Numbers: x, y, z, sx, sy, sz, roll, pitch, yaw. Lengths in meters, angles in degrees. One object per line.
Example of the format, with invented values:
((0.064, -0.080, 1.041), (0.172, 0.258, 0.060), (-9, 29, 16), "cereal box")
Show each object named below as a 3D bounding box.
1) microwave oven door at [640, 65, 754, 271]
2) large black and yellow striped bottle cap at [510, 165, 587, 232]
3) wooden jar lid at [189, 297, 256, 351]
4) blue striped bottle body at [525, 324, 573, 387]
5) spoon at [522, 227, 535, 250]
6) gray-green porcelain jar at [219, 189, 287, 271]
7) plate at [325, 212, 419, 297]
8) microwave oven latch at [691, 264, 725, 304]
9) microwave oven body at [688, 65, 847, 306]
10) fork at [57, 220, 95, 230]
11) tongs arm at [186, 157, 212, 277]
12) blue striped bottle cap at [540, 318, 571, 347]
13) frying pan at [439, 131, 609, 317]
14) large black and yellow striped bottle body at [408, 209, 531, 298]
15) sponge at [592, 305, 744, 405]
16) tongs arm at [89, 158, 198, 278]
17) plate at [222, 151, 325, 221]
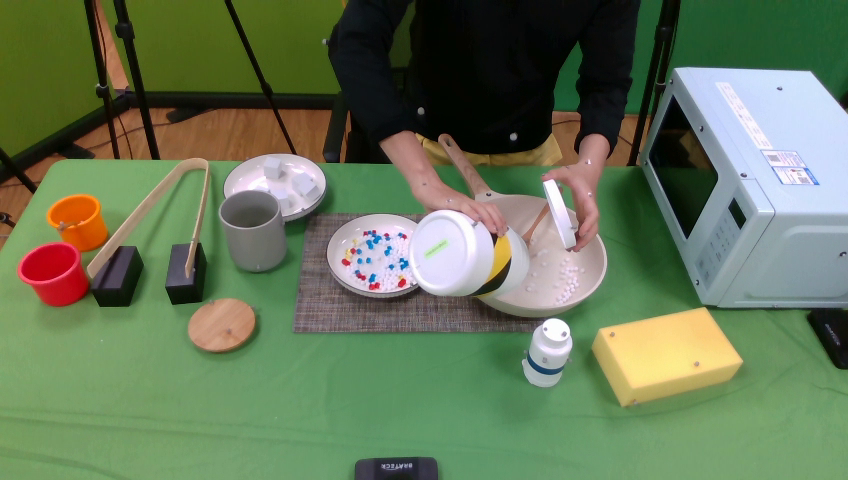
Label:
((0.524, -0.148, 1.193), (0.039, 0.245, 0.353), (0, 47, -3), "microwave oven door")
((0.189, -0.064, 0.921), (0.115, 0.019, 0.114), (1, 59, -1), "large black and yellow striped bottle cap")
((-0.342, 0.145, 1.033), (0.108, 0.021, 0.107), (2, 45, -2), "wooden jar lid")
((0.201, 0.178, 0.970), (0.063, 0.121, 0.062), (2, 46, -1), "blue striped bottle body")
((0.224, -0.035, 1.188), (0.041, 0.022, 0.193), (30, 78, 30), "spoon")
((-0.310, -0.014, 1.113), (0.106, 0.127, 0.105), (2, 46, -2), "gray-green porcelain jar")
((-0.080, 0.030, 1.143), (0.209, 0.038, 0.208), (3, 46, -2), "plate")
((0.521, 0.081, 1.116), (0.030, 0.029, 0.078), (0, 46, -3), "microwave oven latch")
((0.669, -0.111, 1.176), (0.326, 0.261, 0.439), (0, 46, -3), "microwave oven body")
((-0.624, -0.027, 1.087), (0.028, 0.207, 0.018), (-3, 92, -17), "fork")
((-0.445, -0.058, 1.168), (0.051, 0.026, 0.382), (-5, 37, -6), "tongs arm")
((0.203, 0.142, 0.933), (0.044, 0.021, 0.044), (3, 50, -3), "blue striped bottle cap")
((0.149, -0.049, 1.190), (0.307, 0.103, 0.484), (-17, 58, -20), "frying pan")
((0.078, 0.026, 0.967), (0.185, 0.131, 0.130), (8, 32, -50), "large black and yellow striped bottle body")
((0.405, 0.190, 1.015), (0.207, 0.061, 0.117), (-10, 48, -13), "sponge")
((-0.529, -0.057, 1.164), (0.028, 0.028, 0.385), (1, 36, 8), "tongs arm")
((-0.310, -0.106, 1.262), (0.208, 0.039, 0.206), (2, 47, -2), "plate")
